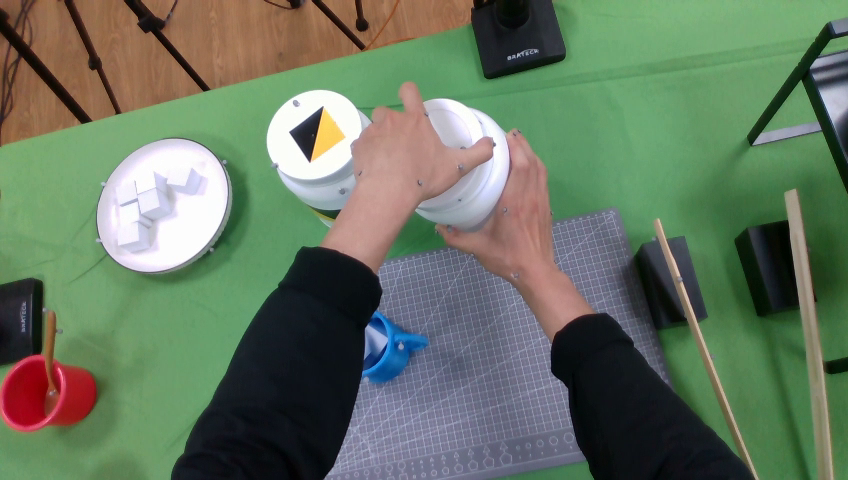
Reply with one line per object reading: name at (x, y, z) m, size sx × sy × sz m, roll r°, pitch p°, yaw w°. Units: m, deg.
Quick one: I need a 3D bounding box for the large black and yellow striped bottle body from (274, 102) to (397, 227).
large black and yellow striped bottle body at (-0.113, -0.103, 0.780) m, size 0.130 × 0.185 × 0.130 m, roll -3°, pitch 73°, yaw 9°

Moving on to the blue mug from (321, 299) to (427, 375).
blue mug at (-0.054, 0.121, 0.747) m, size 0.116 × 0.106 × 0.082 m, roll -6°, pitch 73°, yaw 8°

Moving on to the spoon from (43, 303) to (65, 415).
spoon at (-0.487, 0.159, 0.791) m, size 0.041 × 0.021 × 0.195 m, roll 33°, pitch 126°, yaw 20°

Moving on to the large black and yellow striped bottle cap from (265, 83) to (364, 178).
large black and yellow striped bottle cap at (-0.127, -0.128, 0.701) m, size 0.115 × 0.019 × 0.114 m, roll -2°, pitch 75°, yaw 8°

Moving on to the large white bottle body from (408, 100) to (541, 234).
large white bottle body at (0.048, -0.082, 0.693) m, size 0.130 × 0.186 × 0.130 m, roll -4°, pitch 82°, yaw 26°

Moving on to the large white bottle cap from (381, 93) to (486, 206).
large white bottle cap at (0.008, -0.092, 0.614) m, size 0.114 × 0.018 × 0.114 m, roll -5°, pitch 80°, yaw 28°

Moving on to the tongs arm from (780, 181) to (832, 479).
tongs arm at (0.419, 0.127, 0.671) m, size 0.028 × 0.028 × 0.386 m, roll -3°, pitch 85°, yaw 0°

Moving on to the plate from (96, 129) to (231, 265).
plate at (-0.377, -0.061, 0.890) m, size 0.207 × 0.039 × 0.206 m, roll -2°, pitch 74°, yaw 9°

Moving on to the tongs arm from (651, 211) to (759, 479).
tongs arm at (0.340, 0.144, 0.676) m, size 0.051 × 0.026 × 0.383 m, roll -17°, pitch 84°, yaw 2°
